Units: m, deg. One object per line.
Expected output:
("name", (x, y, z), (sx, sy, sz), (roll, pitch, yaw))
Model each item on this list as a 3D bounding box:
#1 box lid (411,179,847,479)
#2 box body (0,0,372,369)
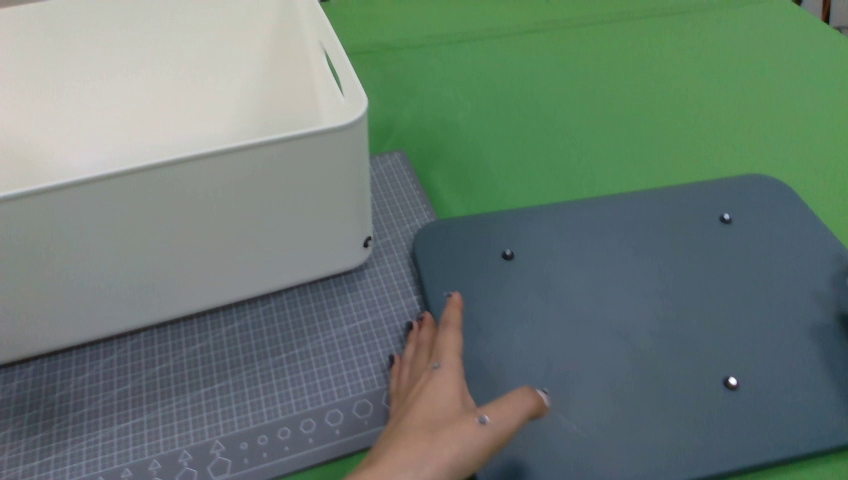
("box lid", (0.187, 0.059, 0.483), (0.372, 0.015, 0.260), (-9, 47, -9))
("box body", (-0.241, -0.063, 0.494), (0.365, 0.162, 0.251), (-15, 48, -13))
